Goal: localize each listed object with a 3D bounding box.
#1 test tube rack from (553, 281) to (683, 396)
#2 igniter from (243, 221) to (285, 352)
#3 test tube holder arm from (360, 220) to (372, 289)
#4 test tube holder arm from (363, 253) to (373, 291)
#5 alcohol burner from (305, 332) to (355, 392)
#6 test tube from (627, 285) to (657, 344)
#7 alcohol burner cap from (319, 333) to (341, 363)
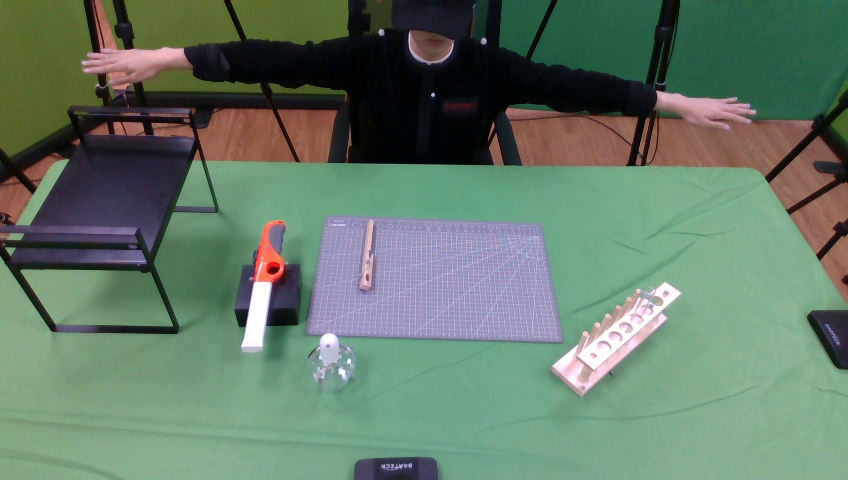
[{"bbox_3d":[0.329,0.153,1.023,0.242,0.085,0.066,-30,54,-28],"label":"test tube rack"},{"bbox_3d":[-0.273,0.068,1.041,0.057,0.025,0.274,2,48,-6],"label":"igniter"},{"bbox_3d":[-0.110,0.024,1.161,0.013,0.015,0.177,27,38,-27],"label":"test tube holder arm"},{"bbox_3d":[-0.104,0.058,1.132,0.010,0.015,0.087,28,38,-26],"label":"test tube holder arm"},{"bbox_3d":[-0.147,0.183,0.943,0.078,0.119,0.077,2,44,-2],"label":"alcohol burner"},{"bbox_3d":[0.349,0.124,0.983,0.017,0.151,0.017,0,49,0],"label":"test tube"},{"bbox_3d":[-0.144,0.161,0.921,0.034,0.048,0.033,2,45,-2],"label":"alcohol burner cap"}]
